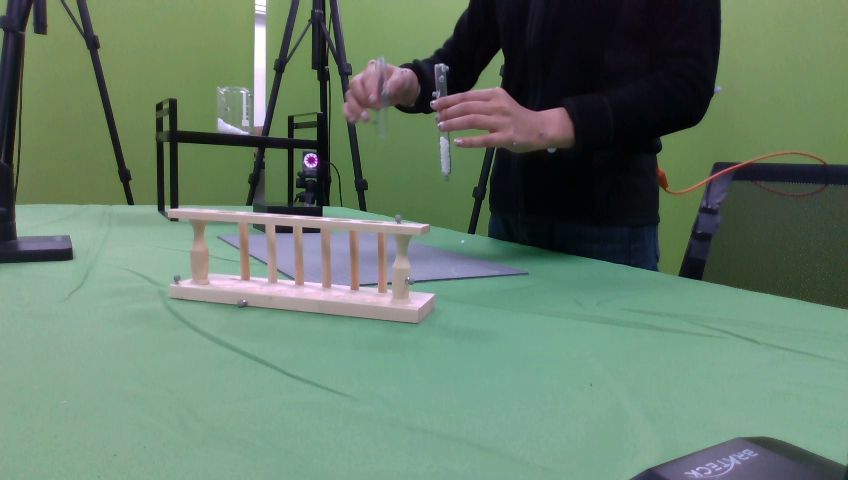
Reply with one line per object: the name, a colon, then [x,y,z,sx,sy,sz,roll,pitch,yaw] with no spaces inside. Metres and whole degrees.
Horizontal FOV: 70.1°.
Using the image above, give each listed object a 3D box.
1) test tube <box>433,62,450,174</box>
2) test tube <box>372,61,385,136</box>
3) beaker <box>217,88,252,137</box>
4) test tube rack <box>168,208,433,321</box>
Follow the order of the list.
test tube: [0.024,-0.166,0.826,0.017,0.150,0.017,-4,6,1]
test tube: [-0.064,-0.196,0.859,0.017,0.017,0.150,2,-27,-2]
beaker: [-0.412,-0.276,1.310,0.074,0.100,0.084,4,8,16]
test tube rack: [-0.116,0.017,0.574,0.242,0.085,0.067,4,8,13]
